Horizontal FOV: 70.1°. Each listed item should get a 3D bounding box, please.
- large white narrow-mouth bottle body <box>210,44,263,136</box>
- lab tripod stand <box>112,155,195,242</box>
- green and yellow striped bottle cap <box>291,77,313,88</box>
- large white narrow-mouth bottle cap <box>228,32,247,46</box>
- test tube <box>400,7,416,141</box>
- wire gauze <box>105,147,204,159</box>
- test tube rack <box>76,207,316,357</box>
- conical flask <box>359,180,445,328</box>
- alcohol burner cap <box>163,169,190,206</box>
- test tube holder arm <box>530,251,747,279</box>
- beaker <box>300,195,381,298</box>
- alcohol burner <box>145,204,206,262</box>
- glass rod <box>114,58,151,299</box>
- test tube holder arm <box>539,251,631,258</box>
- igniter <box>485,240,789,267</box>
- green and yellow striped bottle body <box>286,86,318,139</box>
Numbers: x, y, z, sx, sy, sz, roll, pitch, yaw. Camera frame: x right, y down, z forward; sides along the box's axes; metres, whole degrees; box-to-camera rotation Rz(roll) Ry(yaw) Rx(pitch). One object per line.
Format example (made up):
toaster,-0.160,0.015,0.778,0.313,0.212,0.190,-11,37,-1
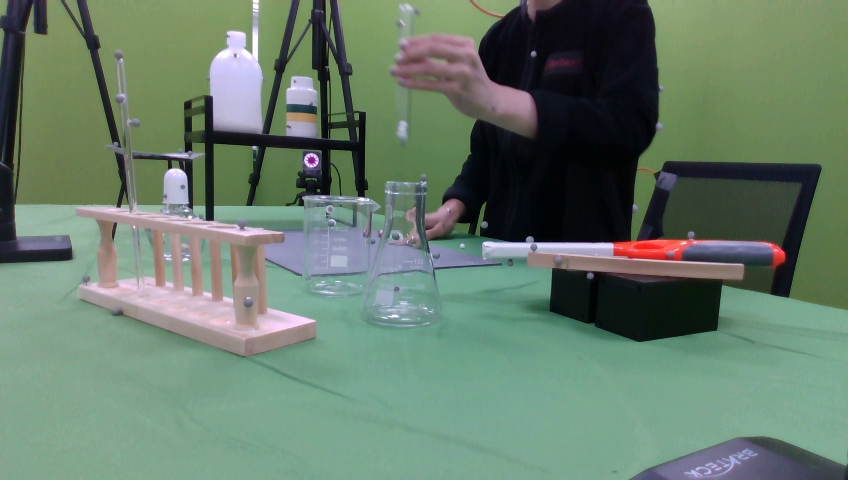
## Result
large white narrow-mouth bottle body,-0.369,-0.305,1.194,0.102,0.194,0.102,3,8,0
lab tripod stand,-0.405,-0.064,0.931,0.148,0.131,0.148,1,6,0
green and yellow striped bottle cap,-0.250,-0.321,1.237,0.045,0.020,0.045,3,5,0
large white narrow-mouth bottle cap,-0.364,-0.390,1.180,0.038,0.024,0.037,3,8,0
test tube,-0.019,-0.191,0.702,0.017,0.150,0.017,2,11,0
wire gauze,-0.408,-0.131,0.928,0.125,0.011,0.121,2,6,-11
test tube rack,-0.196,0.023,0.500,0.241,0.085,0.067,8,9,36
conical flask,-0.017,0.010,0.522,0.075,0.122,0.075,2,8,0
alcohol burner cap,-0.321,-0.068,0.782,0.034,0.048,0.034,1,7,0
test tube holder arm,0.182,0.022,0.523,0.178,0.015,0.013,3,8,12
beaker,-0.087,0.006,0.626,0.084,0.100,0.074,1,8,-17
alcohol burner,-0.321,-0.032,0.788,0.078,0.119,0.078,0,7,0
glass rod,-0.236,-0.044,0.492,0.008,0.199,0.008,0,15,0
test tube holder arm,0.139,0.019,0.538,0.087,0.015,0.010,3,8,13
igniter,0.197,0.012,0.585,0.276,0.025,0.057,1,5,12
green and yellow striped bottle body,-0.251,-0.270,1.245,0.063,0.119,0.063,2,7,0
